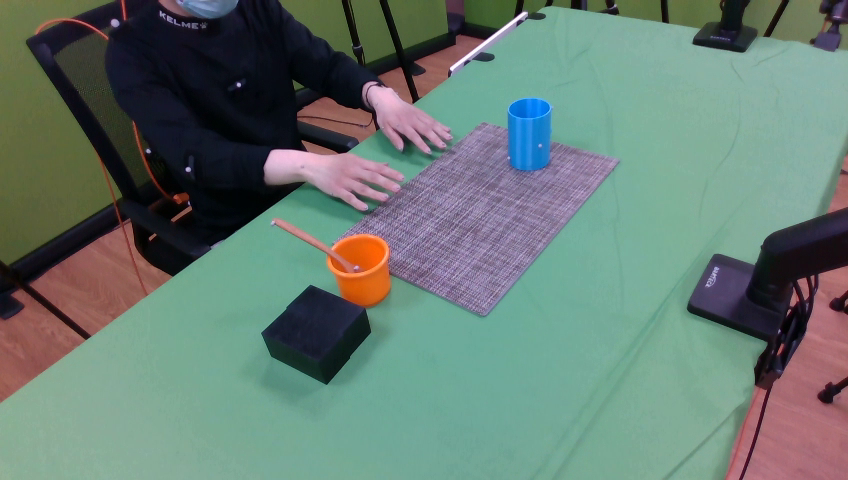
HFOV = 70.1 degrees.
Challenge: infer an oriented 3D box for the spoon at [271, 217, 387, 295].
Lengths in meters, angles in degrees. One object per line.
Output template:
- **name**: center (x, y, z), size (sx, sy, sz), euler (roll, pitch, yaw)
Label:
- **spoon**: center (-0.133, 0.022, 0.865), size (0.021, 0.195, 0.041), euler (-36, 25, 40)

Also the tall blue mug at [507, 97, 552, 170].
- **tall blue mug**: center (0.179, -0.198, 1.101), size (0.078, 0.108, 0.106), euler (-36, 49, -28)
